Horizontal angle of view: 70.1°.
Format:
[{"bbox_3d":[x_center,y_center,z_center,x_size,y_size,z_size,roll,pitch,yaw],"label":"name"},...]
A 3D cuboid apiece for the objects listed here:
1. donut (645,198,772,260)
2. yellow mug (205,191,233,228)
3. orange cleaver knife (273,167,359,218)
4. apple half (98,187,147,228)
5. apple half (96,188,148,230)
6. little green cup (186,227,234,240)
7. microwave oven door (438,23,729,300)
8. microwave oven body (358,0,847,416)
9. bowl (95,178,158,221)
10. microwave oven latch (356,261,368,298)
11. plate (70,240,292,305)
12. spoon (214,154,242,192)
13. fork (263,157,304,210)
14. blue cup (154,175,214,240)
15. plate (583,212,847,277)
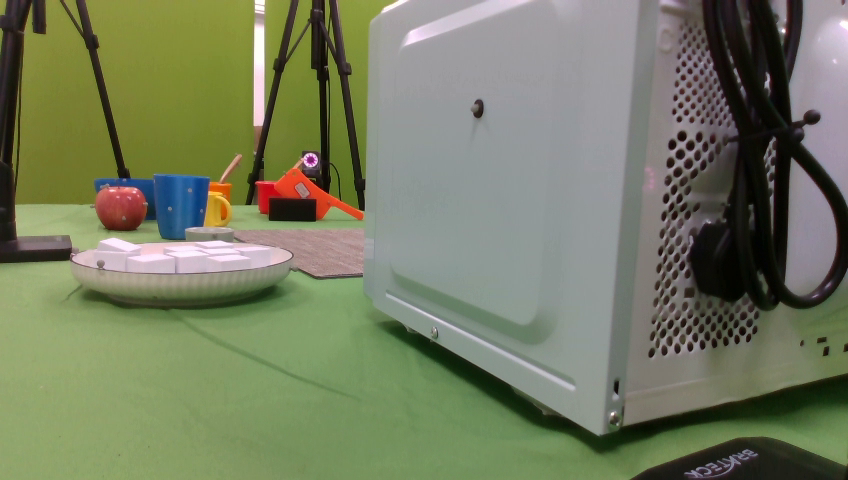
[{"bbox_3d":[0.239,-0.008,0.513,0.099,0.048,0.099,10,1,0],"label":"donut"},{"bbox_3d":[-0.415,-0.057,1.132,0.130,0.064,0.100,6,8,16],"label":"yellow mug"},{"bbox_3d":[-0.238,-0.091,1.381,0.212,0.077,0.012,31,0,-19],"label":"orange cleaver knife"},{"bbox_3d":[-0.534,-0.059,1.071,0.082,0.081,0.032,-1,11,-25],"label":"apple half"},{"bbox_3d":[-0.517,-0.052,1.036,0.081,0.074,0.053,3,10,-26],"label":"apple half"},{"bbox_3d":[-0.284,0.005,0.805,0.061,0.038,0.061,2,8,0],"label":"little green cup"},{"bbox_3d":[0.181,-0.072,0.620,0.358,0.243,0.039,-2,8,-29],"label":"microwave oven door"},{"bbox_3d":[0.211,-0.047,0.474,0.444,0.260,0.324,-1,8,-28],"label":"microwave oven body"},{"bbox_3d":[-0.576,-0.081,1.217,0.151,0.077,0.151,3,8,0],"label":"bowl"},{"bbox_3d":[-0.019,0.033,0.530,0.079,0.029,0.030,-1,7,-26],"label":"microwave oven latch"},{"bbox_3d":[-0.242,0.031,0.618,0.208,0.039,0.207,2,8,0],"label":"plate"},{"bbox_3d":[-0.439,-0.124,1.317,0.041,0.193,0.022,5,-37,16],"label":"spoon"},{"bbox_3d":[-0.345,-0.143,1.505,0.028,0.019,0.207,-3,46,28],"label":"fork"},{"bbox_3d":[-0.390,-0.053,0.978,0.093,0.100,0.092,3,6,0],"label":"blue cup"},{"bbox_3d":[0.239,0.001,0.510,0.209,0.038,0.209,2,6,0],"label":"plate"}]
